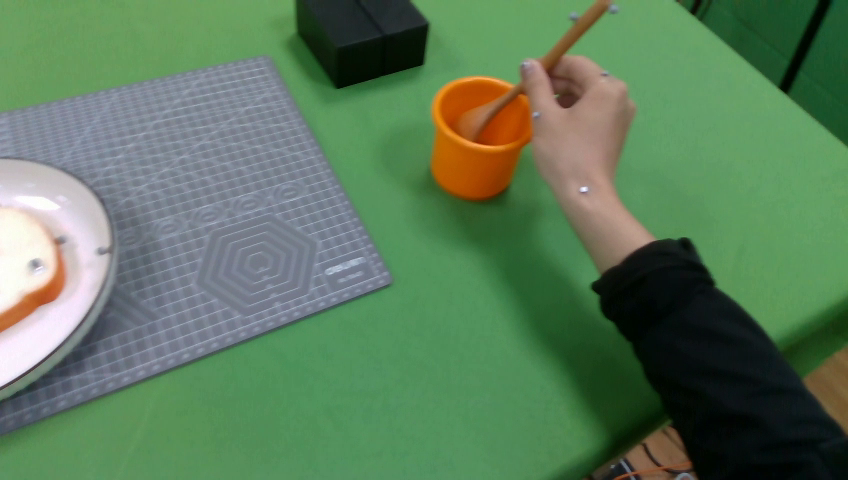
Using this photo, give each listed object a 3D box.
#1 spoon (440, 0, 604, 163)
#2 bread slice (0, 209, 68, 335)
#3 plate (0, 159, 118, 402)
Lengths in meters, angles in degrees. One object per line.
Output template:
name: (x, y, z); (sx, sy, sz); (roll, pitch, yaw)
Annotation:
spoon: (0.073, -0.128, 0.499); (0.022, 0.194, 0.041); (16, 49, -39)
bread slice: (-0.326, 0.030, 0.423); (0.131, 0.019, 0.104); (-35, 67, -27)
plate: (-0.321, 0.031, 0.419); (0.209, 0.038, 0.207); (4, 54, -6)
